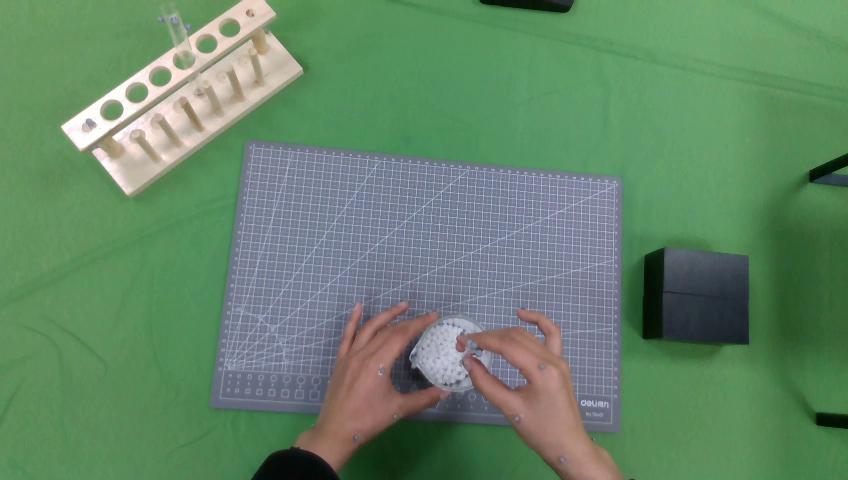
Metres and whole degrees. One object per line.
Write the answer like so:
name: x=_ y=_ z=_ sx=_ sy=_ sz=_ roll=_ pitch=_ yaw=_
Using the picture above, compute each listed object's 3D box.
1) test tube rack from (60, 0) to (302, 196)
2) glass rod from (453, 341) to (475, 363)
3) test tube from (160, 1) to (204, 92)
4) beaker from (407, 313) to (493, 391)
test tube rack: x=-0.253 y=-0.157 z=0.660 sx=0.242 sy=0.085 sz=0.066 roll=-40 pitch=85 yaw=-12
glass rod: x=0.037 y=0.108 z=0.572 sx=0.008 sy=0.200 sz=0.008 roll=0 pitch=75 yaw=-1
test tube: x=-0.243 y=-0.192 z=0.617 sx=0.017 sy=0.150 sz=0.017 roll=3 pitch=75 yaw=-10
beaker: x=0.021 y=0.118 z=0.630 sx=0.084 sy=0.100 sz=0.073 roll=-5 pitch=79 yaw=-7
